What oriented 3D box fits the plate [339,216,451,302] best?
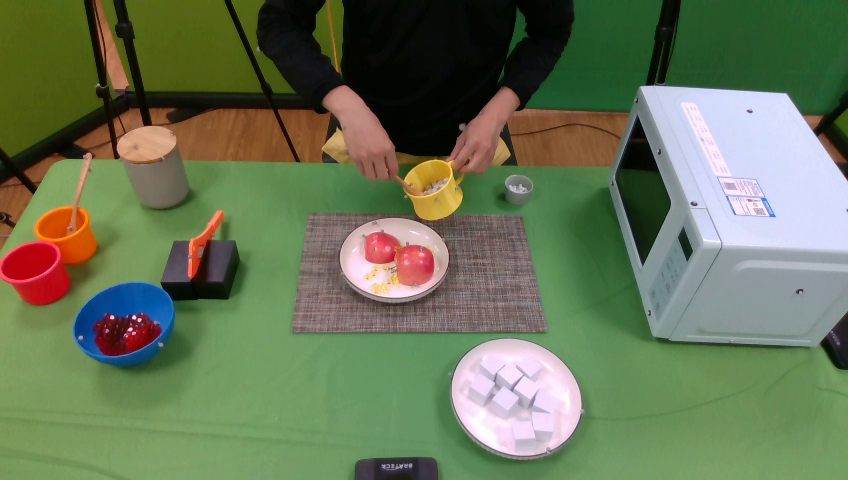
[{"bbox_3d":[-0.054,0.038,1.138,0.209,0.038,0.208,2,46,-2],"label":"plate"}]

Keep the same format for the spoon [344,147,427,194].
[{"bbox_3d":[-0.060,-0.121,1.114,0.194,0.021,0.041,32,18,-14],"label":"spoon"}]

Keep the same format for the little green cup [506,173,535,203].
[{"bbox_3d":[0.205,-0.111,1.302,0.061,0.039,0.061,1,45,-1],"label":"little green cup"}]

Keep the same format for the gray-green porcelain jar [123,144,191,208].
[{"bbox_3d":[-0.530,-0.136,1.213,0.106,0.127,0.105,2,46,-2],"label":"gray-green porcelain jar"}]

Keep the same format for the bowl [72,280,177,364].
[{"bbox_3d":[-0.472,0.147,0.982,0.151,0.077,0.150,2,46,-2],"label":"bowl"}]

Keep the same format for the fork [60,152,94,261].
[{"bbox_3d":[-0.638,-0.063,1.119,0.028,0.018,0.207,12,90,7],"label":"fork"}]

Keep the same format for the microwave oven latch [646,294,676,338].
[{"bbox_3d":[0.412,0.133,1.060,0.030,0.029,0.078,3,46,0],"label":"microwave oven latch"}]

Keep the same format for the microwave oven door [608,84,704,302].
[{"bbox_3d":[0.424,-0.096,1.138,0.039,0.245,0.353,3,46,-1],"label":"microwave oven door"}]

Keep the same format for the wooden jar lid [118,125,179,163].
[{"bbox_3d":[-0.528,-0.181,1.167,0.108,0.021,0.107,4,48,-4],"label":"wooden jar lid"}]

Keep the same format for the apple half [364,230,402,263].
[{"bbox_3d":[-0.079,0.004,1.160,0.081,0.033,0.081,2,50,-3],"label":"apple half"}]

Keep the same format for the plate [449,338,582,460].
[{"bbox_3d":[0.141,0.251,0.956,0.208,0.039,0.206,2,47,-2],"label":"plate"}]

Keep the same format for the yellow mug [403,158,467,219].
[{"bbox_3d":[0.030,-0.108,1.153,0.131,0.064,0.099,-40,45,-12],"label":"yellow mug"}]

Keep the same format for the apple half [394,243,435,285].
[{"bbox_3d":[-0.017,0.037,1.121,0.075,0.053,0.080,1,45,-7],"label":"apple half"}]

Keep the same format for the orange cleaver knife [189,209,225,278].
[{"bbox_3d":[-0.400,0.002,1.122,0.012,0.077,0.210,4,23,-4],"label":"orange cleaver knife"}]

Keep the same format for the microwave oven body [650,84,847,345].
[{"bbox_3d":[0.569,-0.054,1.116,0.326,0.261,0.439,2,46,-1],"label":"microwave oven body"}]
